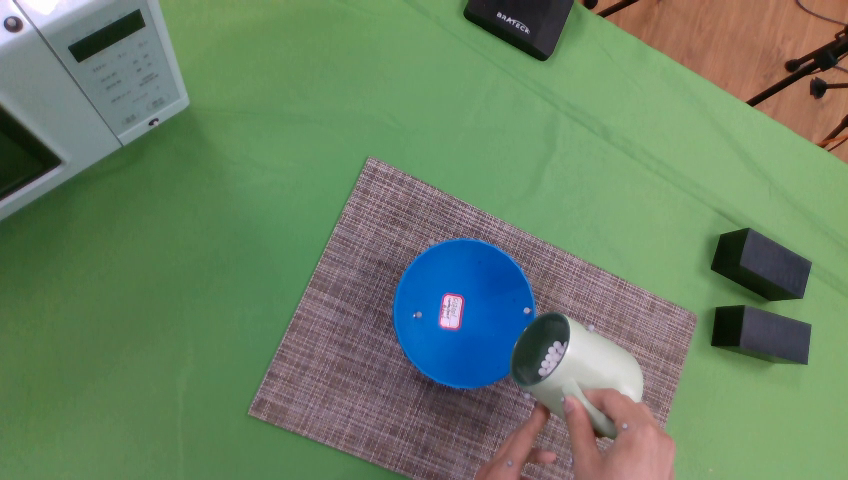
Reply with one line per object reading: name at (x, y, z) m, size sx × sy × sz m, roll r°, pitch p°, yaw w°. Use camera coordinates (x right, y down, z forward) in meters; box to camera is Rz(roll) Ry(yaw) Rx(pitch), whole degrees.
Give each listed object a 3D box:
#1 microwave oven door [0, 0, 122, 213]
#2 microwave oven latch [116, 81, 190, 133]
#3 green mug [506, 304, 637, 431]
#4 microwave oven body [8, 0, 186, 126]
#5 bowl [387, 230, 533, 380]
microwave oven door at (-0.411, -0.025, 0.431) m, size 0.355 × 0.243 × 0.039 m, roll -38°, pitch 92°, yaw -17°
microwave oven latch at (-0.269, -0.137, 0.591) m, size 0.079 × 0.029 × 0.030 m, roll -36°, pitch 93°, yaw -16°
green mug at (0.146, 0.129, 0.573) m, size 0.106 × 0.124 × 0.092 m, roll 36°, pitch 105°, yaw -22°
microwave oven body at (-0.469, -0.165, 0.440) m, size 0.441 × 0.260 × 0.326 m, roll -38°, pitch 93°, yaw -16°
bowl at (0.030, 0.069, 0.637) m, size 0.152 × 0.077 × 0.151 m, roll 2°, pitch 82°, yaw -14°
